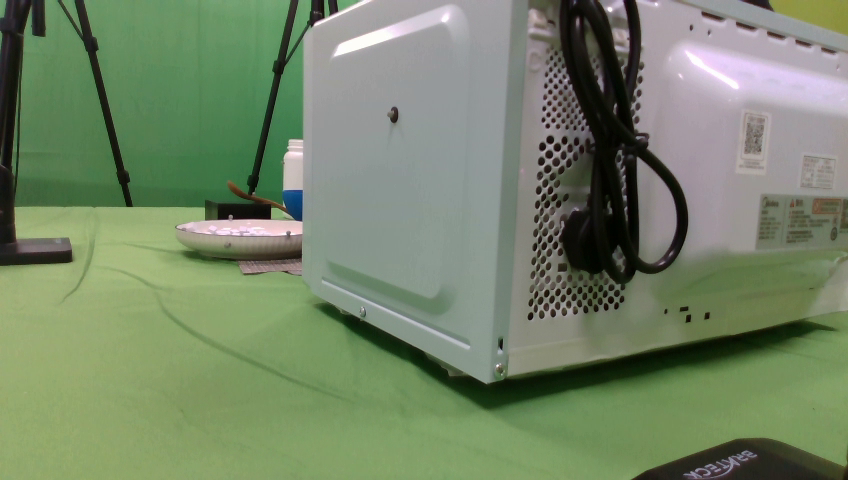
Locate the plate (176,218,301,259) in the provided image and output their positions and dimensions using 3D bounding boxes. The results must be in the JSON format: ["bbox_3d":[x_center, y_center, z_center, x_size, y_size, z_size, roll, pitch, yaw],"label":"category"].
[{"bbox_3d":[-0.248,-0.003,0.877,0.209,0.038,0.209,1,8,0],"label":"plate"}]

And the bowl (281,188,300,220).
[{"bbox_3d":[-0.191,-0.053,1.129,0.151,0.077,0.151,3,8,0],"label":"bowl"}]

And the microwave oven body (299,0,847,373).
[{"bbox_3d":[0.152,-0.055,0.542,0.444,0.260,0.324,-2,7,-33],"label":"microwave oven body"}]

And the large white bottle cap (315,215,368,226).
[{"bbox_3d":[-0.177,-0.041,1.309,0.115,0.018,0.115,2,6,0],"label":"large white bottle cap"}]

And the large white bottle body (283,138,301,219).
[{"bbox_3d":[-0.265,-0.143,1.423,0.131,0.184,0.130,2,7,0],"label":"large white bottle body"}]

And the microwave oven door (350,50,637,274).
[{"bbox_3d":[0.093,-0.085,0.721,0.357,0.243,0.039,0,8,-20],"label":"microwave oven door"}]

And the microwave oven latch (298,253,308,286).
[{"bbox_3d":[-0.081,0.027,0.582,0.079,0.029,0.030,-1,7,-32],"label":"microwave oven latch"}]

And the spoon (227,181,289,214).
[{"bbox_3d":[-0.315,-0.074,1.235,0.195,0.021,0.041,24,-11,-37],"label":"spoon"}]
